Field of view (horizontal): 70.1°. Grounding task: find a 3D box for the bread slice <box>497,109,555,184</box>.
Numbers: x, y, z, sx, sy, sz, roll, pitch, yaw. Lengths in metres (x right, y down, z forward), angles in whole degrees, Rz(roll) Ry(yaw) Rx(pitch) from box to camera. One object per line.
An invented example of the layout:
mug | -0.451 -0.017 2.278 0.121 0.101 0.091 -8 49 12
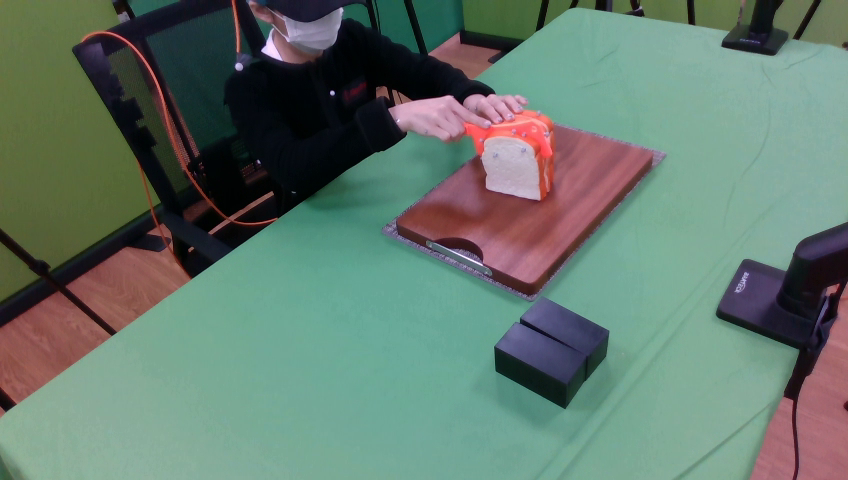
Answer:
bread slice | 0.168 -0.155 1.004 0.106 0.135 0.018 16 48 19

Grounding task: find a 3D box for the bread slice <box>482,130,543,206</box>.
bread slice | 0.139 -0.116 0.969 0.104 0.132 0.019 15 47 23

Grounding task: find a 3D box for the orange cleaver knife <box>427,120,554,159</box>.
orange cleaver knife | 0.104 -0.161 0.968 0.210 0.077 0.012 9 46 27
